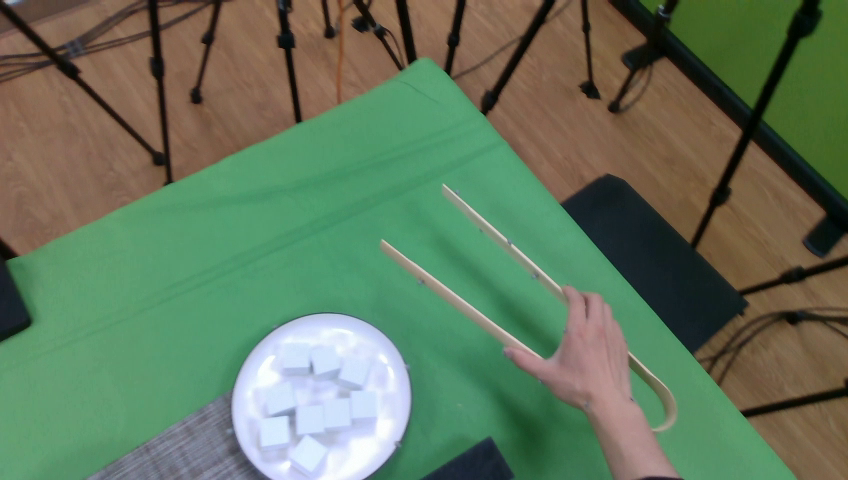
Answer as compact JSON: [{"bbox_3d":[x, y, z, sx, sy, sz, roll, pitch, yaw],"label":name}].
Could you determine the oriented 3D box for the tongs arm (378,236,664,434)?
[{"bbox_3d":[0.100,0.108,0.707,0.386,0.028,0.028,35,60,12],"label":"tongs arm"}]

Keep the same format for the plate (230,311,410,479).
[{"bbox_3d":[-0.120,0.187,0.718,0.208,0.039,0.206,2,64,-4],"label":"plate"}]

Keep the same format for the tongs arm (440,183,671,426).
[{"bbox_3d":[0.143,0.069,0.731,0.382,0.027,0.050,42,65,15],"label":"tongs arm"}]
